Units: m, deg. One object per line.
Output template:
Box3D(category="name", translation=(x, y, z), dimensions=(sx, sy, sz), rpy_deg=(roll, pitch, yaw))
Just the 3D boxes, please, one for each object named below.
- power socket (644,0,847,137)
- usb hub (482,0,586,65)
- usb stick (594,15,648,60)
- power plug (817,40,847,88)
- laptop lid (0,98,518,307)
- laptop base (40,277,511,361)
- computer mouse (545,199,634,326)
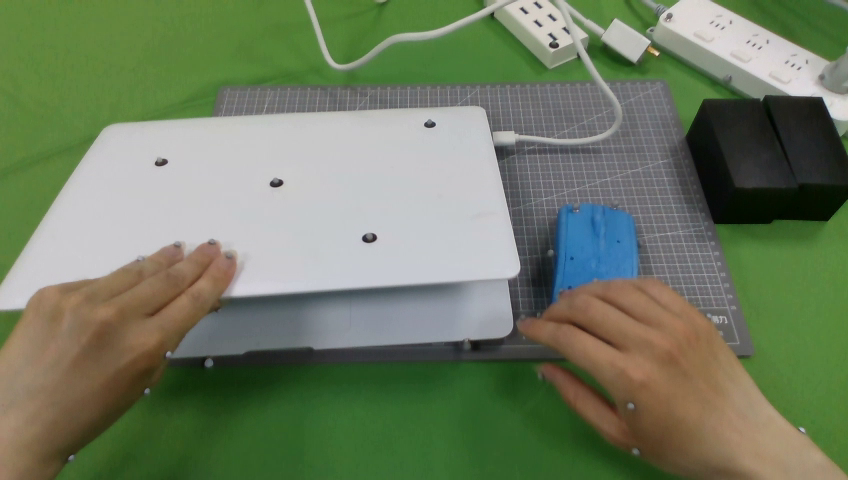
Box3D(category="power socket", translation=(0.330, -0.180, 0.604), dimensions=(0.072, 0.033, 0.225), rpy_deg=(-38, 64, -22))
Box3D(category="usb hub", translation=(0.115, -0.240, 0.649), dimensions=(0.049, 0.025, 0.124), rpy_deg=(-27, 60, -16))
Box3D(category="usb stick", translation=(0.207, -0.206, 0.622), dimensions=(0.059, 0.027, 0.021), rpy_deg=(29, 17, 1))
Box3D(category="power plug", translation=(0.402, -0.165, 0.566), dimensions=(0.072, 0.053, 0.035), rpy_deg=(-30, 60, -15))
Box3D(category="laptop lid", translation=(-0.117, -0.045, 0.476), dimensions=(0.357, 0.013, 0.239), rpy_deg=(-2, 42, 0))
Box3D(category="laptop base", translation=(-0.115, -0.016, 0.512), dimensions=(0.354, 0.023, 0.233), rpy_deg=(-3, 60, -1))
Box3D(category="computer mouse", translation=(0.131, 0.012, 0.475), dimensions=(0.062, 0.041, 0.116), rpy_deg=(9, 53, 9))
